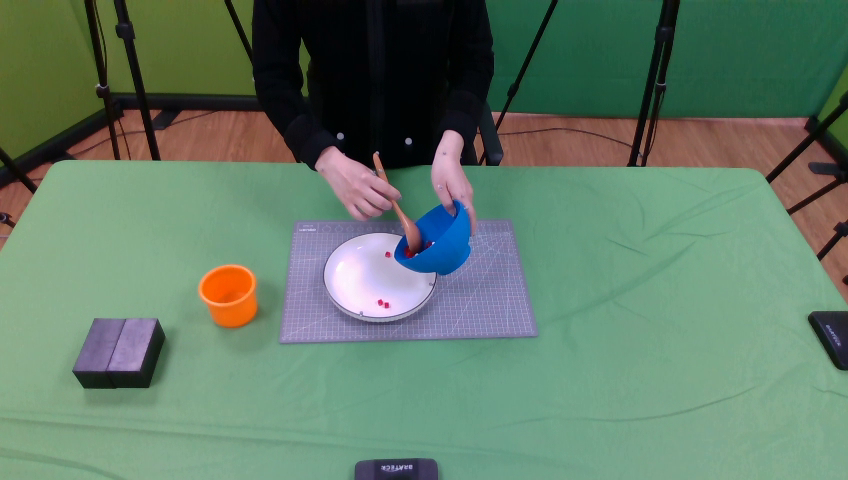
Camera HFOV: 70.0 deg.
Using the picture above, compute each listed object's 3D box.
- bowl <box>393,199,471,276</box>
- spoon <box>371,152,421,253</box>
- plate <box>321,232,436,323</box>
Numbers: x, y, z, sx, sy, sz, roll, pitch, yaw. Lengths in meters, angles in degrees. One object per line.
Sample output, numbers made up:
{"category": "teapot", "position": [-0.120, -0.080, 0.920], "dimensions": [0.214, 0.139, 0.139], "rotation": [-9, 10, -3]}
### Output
{"category": "bowl", "position": [0.028, 0.008, 1.041], "dimensions": [0.077, 0.151, 0.151], "rotation": [48, 46, -19]}
{"category": "spoon", "position": [-0.049, -0.062, 1.038], "dimensions": [0.021, 0.194, 0.041], "rotation": [-10, 27, 39]}
{"category": "plate", "position": [-0.083, 0.070, 1.109], "dimensions": [0.209, 0.038, 0.208], "rotation": [3, 46, -2]}
